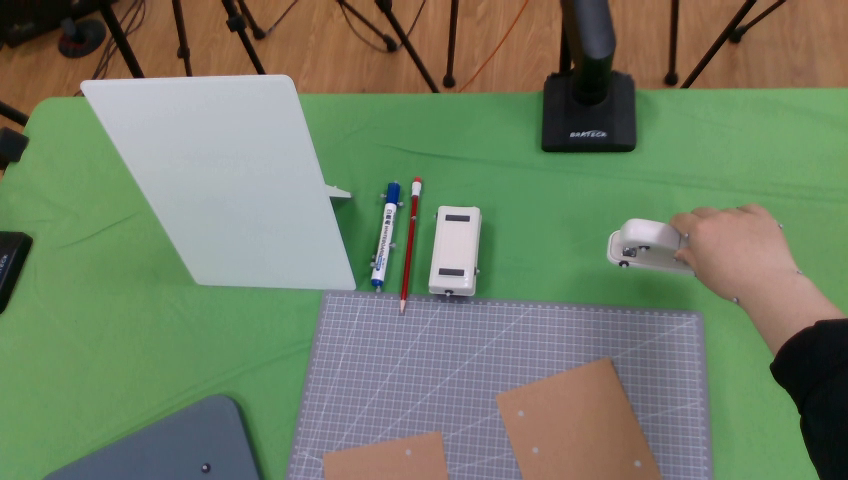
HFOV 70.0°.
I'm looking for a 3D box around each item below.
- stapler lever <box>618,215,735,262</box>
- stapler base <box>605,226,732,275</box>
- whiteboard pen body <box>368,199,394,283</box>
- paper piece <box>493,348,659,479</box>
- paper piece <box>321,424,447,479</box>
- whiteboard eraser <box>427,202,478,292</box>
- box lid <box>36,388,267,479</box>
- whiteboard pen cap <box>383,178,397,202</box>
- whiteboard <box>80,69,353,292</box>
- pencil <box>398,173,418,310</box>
[{"bbox_3d":[0.261,-0.002,0.625,0.118,0.040,0.026,8,72,11],"label":"stapler lever"},{"bbox_3d":[0.263,0.007,0.649,0.130,0.024,0.041,8,73,11],"label":"stapler base"},{"bbox_3d":[-0.053,-0.012,0.781,0.017,0.017,0.140,4,65,11],"label":"whiteboard pen body"},{"bbox_3d":[0.158,0.202,0.650,0.136,0.009,0.137,-20,66,4],"label":"paper piece"},{"bbox_3d":[-0.040,0.276,0.646,0.135,0.004,0.134,-12,64,3],"label":"paper piece"},{"bbox_3d":[0.036,0.008,0.744,0.055,0.042,0.112,2,66,11],"label":"whiteboard eraser"},{"bbox_3d":[-0.271,0.366,0.642,0.263,0.015,0.368,-26,65,-4],"label":"box lid"},{"bbox_3d":[-0.045,-0.064,0.803,0.018,0.018,0.033,1,65,10],"label":"whiteboard pen cap"},{"bbox_3d":[-0.200,-0.094,0.716,0.217,0.308,0.142,2,46,11],"label":"whiteboard"},{"bbox_3d":[-0.021,-0.002,0.774,0.012,0.012,0.192,1,66,10],"label":"pencil"}]
